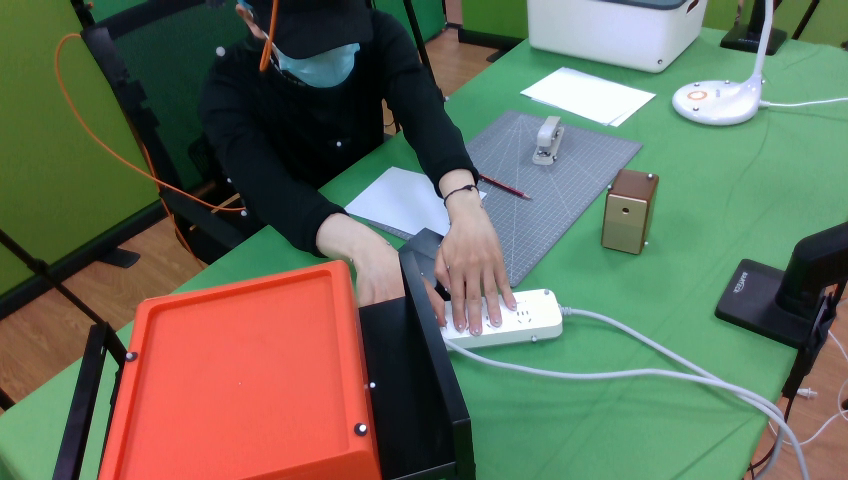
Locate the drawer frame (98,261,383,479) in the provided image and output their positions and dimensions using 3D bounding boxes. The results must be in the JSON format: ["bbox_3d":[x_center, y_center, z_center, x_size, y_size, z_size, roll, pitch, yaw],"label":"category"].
[{"bbox_3d":[-0.148,0.129,0.519,0.202,0.083,0.212,-12,41,-6],"label":"drawer frame"}]

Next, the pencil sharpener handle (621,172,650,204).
[{"bbox_3d":[0.328,-0.086,0.940,0.036,0.068,0.030,30,49,8],"label":"pencil sharpener handle"}]

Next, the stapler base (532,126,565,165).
[{"bbox_3d":[0.238,-0.189,1.155,0.041,0.024,0.130,10,42,18],"label":"stapler base"}]

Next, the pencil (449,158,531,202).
[{"bbox_3d":[0.116,-0.108,1.091,0.012,0.012,0.192,-36,50,-29],"label":"pencil"}]

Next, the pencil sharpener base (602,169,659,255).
[{"bbox_3d":[0.312,-0.044,0.913,0.061,0.107,0.077,14,45,24],"label":"pencil sharpener base"}]

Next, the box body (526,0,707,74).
[{"bbox_3d":[0.450,-0.540,1.430,0.361,0.161,0.255,24,50,31],"label":"box body"}]

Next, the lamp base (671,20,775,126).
[{"bbox_3d":[0.582,-0.331,1.153,0.179,0.181,0.160,2,41,7],"label":"lamp base"}]

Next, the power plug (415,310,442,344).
[{"bbox_3d":[0.004,0.122,0.783,0.035,0.053,0.072,1,36,7],"label":"power plug"}]

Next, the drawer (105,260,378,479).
[{"bbox_3d":[-0.150,0.127,0.524,0.195,0.073,0.210,-11,41,-5],"label":"drawer"}]

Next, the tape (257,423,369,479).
[{"bbox_3d":[-0.121,0.262,0.660,0.117,0.053,0.116,-4,40,4],"label":"tape"}]

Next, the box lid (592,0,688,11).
[{"bbox_3d":[0.441,-0.596,1.383,0.368,0.015,0.264,24,49,31],"label":"box lid"}]

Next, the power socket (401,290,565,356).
[{"bbox_3d":[0.080,0.112,0.822,0.227,0.033,0.072,-6,41,0],"label":"power socket"}]

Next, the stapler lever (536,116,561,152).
[{"bbox_3d":[0.235,-0.208,1.141,0.026,0.040,0.118,10,43,18],"label":"stapler lever"}]
